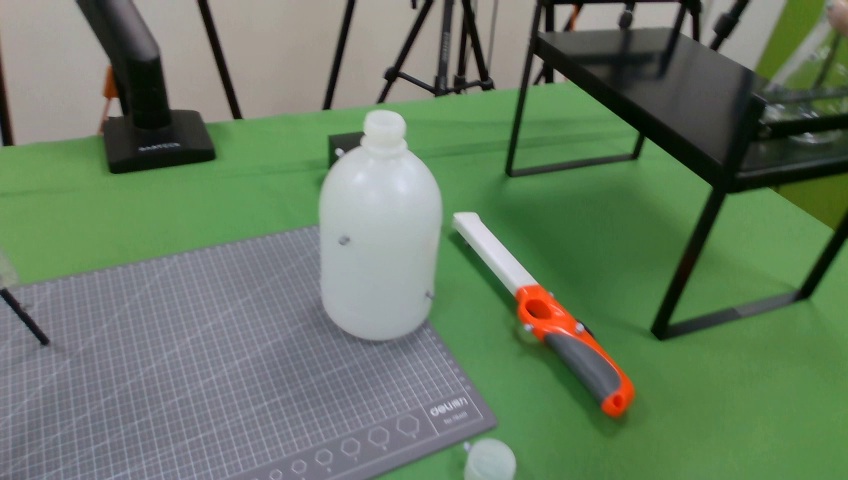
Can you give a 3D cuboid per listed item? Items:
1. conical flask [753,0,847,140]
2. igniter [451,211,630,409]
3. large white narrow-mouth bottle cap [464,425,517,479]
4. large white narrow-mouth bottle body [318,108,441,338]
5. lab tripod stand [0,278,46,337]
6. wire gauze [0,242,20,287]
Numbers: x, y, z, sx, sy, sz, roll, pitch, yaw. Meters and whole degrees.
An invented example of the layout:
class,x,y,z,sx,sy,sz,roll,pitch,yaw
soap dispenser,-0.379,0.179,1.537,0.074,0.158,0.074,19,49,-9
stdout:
class,x,y,z,sx,sy,sz,roll,pitch,yaw
conical flask,0.341,-0.152,0.514,0.075,0.123,0.074,5,38,-3
igniter,0.103,0.053,0.582,0.057,0.025,0.273,-3,37,-31
large white narrow-mouth bottle cap,0.049,0.157,0.445,0.038,0.024,0.037,4,38,-3
large white narrow-mouth bottle body,-0.037,-0.016,0.506,0.102,0.196,0.101,4,38,-3
lab tripod stand,-0.326,0.067,0.400,0.148,0.132,0.147,6,38,-5
wire gauze,-0.324,0.015,0.360,0.121,0.011,0.124,-26,53,-33
